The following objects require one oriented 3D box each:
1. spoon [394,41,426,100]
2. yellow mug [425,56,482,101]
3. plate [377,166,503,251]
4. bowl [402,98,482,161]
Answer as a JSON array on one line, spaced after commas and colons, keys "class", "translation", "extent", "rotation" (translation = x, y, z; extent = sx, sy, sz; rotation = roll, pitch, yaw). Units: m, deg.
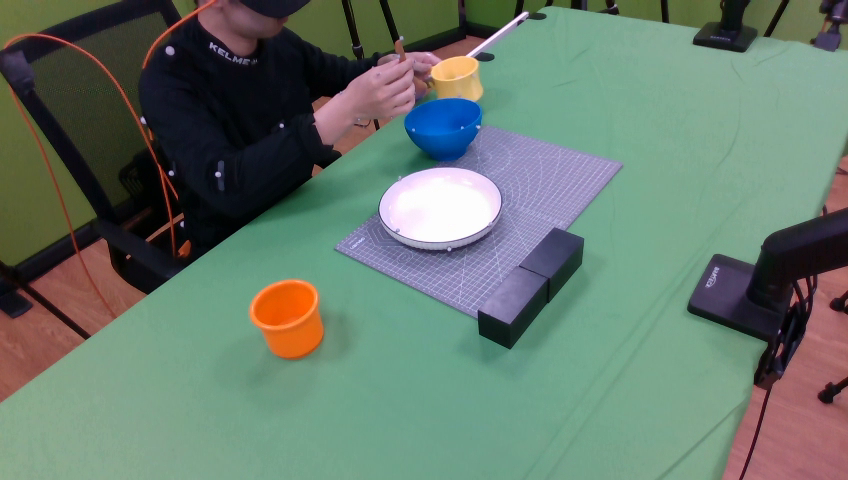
[{"class": "spoon", "translation": [-0.028, -0.289, 1.042], "extent": [0.041, 0.195, 0.021], "rotation": [-34, 71, 2]}, {"class": "yellow mug", "translation": [0.053, -0.335, 1.275], "extent": [0.130, 0.064, 0.100], "rotation": [17, 52, 35]}, {"class": "plate", "translation": [0.027, -0.050, 1.007], "extent": [0.209, 0.038, 0.208], "rotation": [-4, 41, 4]}, {"class": "bowl", "translation": [0.040, -0.203, 1.155], "extent": [0.151, 0.077, 0.150], "rotation": [-7, 37, 6]}]
